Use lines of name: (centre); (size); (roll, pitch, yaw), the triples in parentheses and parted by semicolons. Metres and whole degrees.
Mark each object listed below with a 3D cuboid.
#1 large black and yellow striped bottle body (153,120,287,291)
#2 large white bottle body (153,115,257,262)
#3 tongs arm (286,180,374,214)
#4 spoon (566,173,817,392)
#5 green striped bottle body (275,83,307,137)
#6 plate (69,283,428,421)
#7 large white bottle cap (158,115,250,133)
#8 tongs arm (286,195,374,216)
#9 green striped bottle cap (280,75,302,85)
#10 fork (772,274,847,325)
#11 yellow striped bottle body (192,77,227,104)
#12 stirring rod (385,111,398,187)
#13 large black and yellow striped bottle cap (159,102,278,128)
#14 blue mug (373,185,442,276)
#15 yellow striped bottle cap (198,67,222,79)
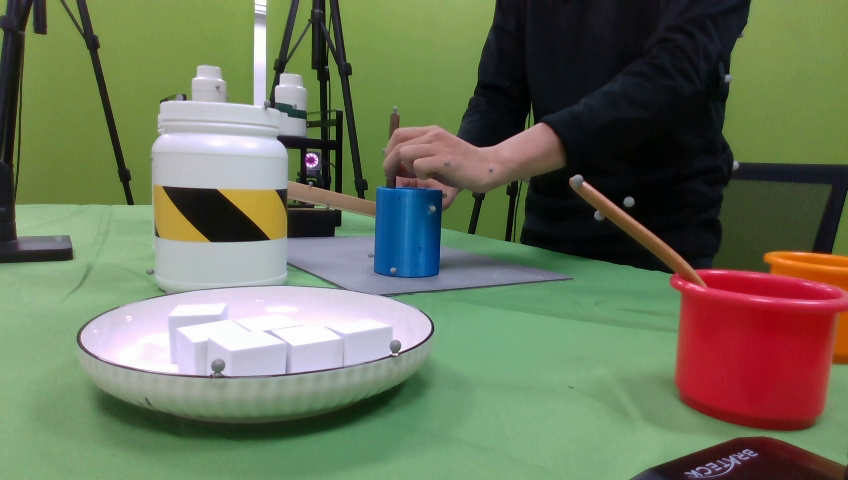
large black and yellow striped bottle body: (-0.208, -0.042, 0.626); (0.131, 0.184, 0.130); (2, 7, 0)
large white bottle body: (-0.293, -0.070, 0.813); (0.131, 0.184, 0.130); (2, 7, 0)
tongs arm: (-0.122, -0.066, 1.147); (0.387, 0.026, 0.050); (11, -2, -37)
spoon: (0.161, 0.024, 0.370); (0.193, 0.021, 0.042); (47, 17, 3)
green striped bottle body: (-0.269, -0.269, 1.221); (0.063, 0.119, 0.063); (2, 7, 0)
plate: (-0.102, 0.066, 0.381); (0.208, 0.039, 0.207); (2, 7, 0)
large white bottle cap: (-0.291, -0.153, 0.803); (0.115, 0.018, 0.115); (1, 7, 0)
tongs arm: (-0.165, -0.075, 1.216); (0.389, 0.027, 0.028); (11, -6, -24)
green striped bottle cap: (-0.267, -0.320, 1.216); (0.044, 0.020, 0.044); (2, 8, 0)
fork: (0.332, 0.019, 0.444); (0.028, 0.018, 0.207); (0, -36, -14)
yellow striped bottle body: (-0.414, -0.268, 1.169); (0.063, 0.120, 0.063); (2, 7, 0)
stirring rod: (-0.042, -0.070, 0.748); (0.014, 0.176, 0.006); (12, 14, 35)
large black and yellow striped bottle cap: (-0.207, -0.125, 0.615); (0.115, 0.019, 0.115); (2, 6, 0)
blue mug: (-0.022, -0.016, 0.762); (0.082, 0.106, 0.116); (1, 7, -6)
yellow striped bottle cap: (-0.412, -0.320, 1.162); (0.044, 0.018, 0.044); (0, 5, 0)
